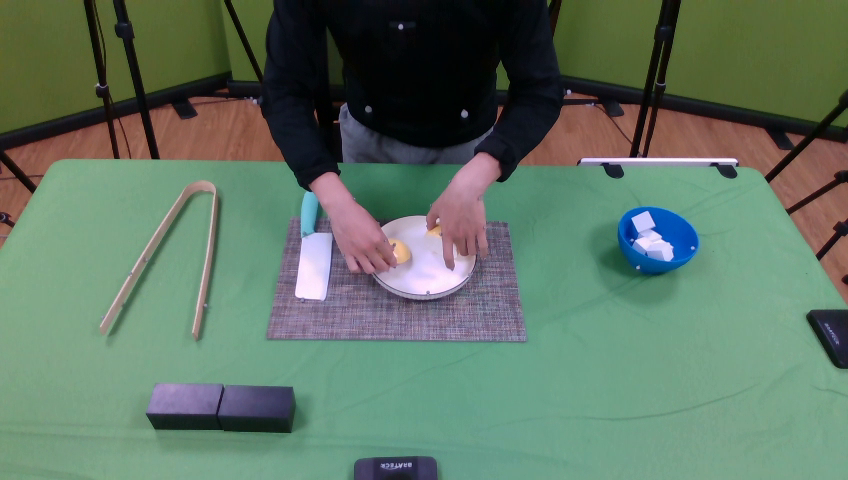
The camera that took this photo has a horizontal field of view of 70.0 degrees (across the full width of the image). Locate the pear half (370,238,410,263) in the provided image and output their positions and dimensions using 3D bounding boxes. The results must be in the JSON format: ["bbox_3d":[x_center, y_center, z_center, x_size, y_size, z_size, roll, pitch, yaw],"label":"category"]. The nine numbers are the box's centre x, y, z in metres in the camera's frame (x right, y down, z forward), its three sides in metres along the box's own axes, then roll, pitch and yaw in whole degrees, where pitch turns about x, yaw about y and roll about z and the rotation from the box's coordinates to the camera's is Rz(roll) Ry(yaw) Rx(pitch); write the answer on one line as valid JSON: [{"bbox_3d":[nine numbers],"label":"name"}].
[{"bbox_3d":[-0.065,0.015,1.141,0.070,0.031,0.088,25,28,30],"label":"pear half"}]

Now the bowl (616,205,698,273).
[{"bbox_3d":[0.443,0.010,1.182,0.151,0.077,0.150,2,46,-2],"label":"bowl"}]

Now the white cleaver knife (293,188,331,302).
[{"bbox_3d":[-0.214,0.005,1.177,0.066,0.021,0.284,2,50,-9],"label":"white cleaver knife"}]

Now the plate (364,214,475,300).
[{"bbox_3d":[-0.010,0.036,1.147,0.208,0.039,0.206,2,46,-2],"label":"plate"}]

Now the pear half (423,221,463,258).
[{"bbox_3d":[0.045,-0.008,1.125,0.076,0.109,0.056,32,76,-17],"label":"pear half"}]

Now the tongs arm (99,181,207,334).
[{"bbox_3d":[-0.494,0.018,1.132,0.051,0.026,0.382,7,45,0],"label":"tongs arm"}]

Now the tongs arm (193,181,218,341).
[{"bbox_3d":[-0.413,0.025,1.140,0.028,0.028,0.385,-5,47,-7],"label":"tongs arm"}]
